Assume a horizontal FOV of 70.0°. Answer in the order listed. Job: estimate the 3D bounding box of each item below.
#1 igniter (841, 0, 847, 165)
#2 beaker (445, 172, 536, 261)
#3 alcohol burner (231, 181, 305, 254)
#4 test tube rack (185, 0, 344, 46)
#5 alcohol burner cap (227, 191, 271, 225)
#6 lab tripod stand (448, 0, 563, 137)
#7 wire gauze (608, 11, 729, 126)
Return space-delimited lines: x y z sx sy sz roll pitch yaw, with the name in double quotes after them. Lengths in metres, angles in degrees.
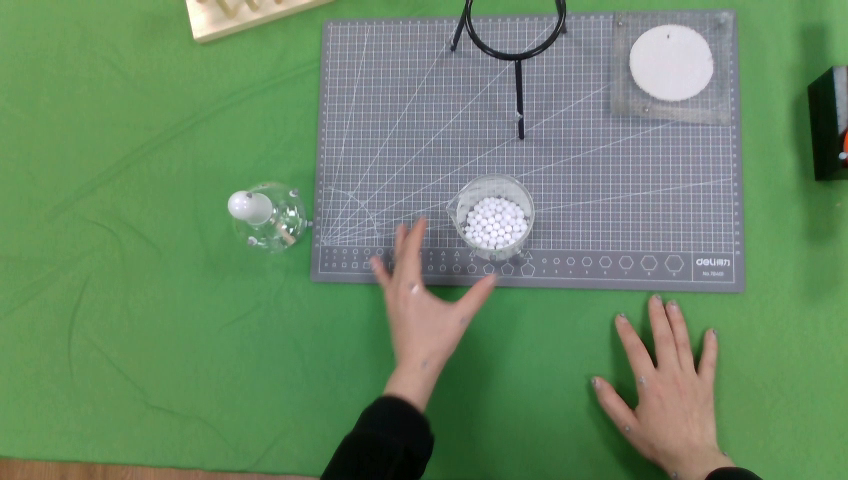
0.415 -0.115 0.560 0.057 0.025 0.275 0 80 10 "igniter"
0.066 -0.019 0.598 0.084 0.100 0.074 7 83 8 "beaker"
-0.167 -0.027 0.623 0.078 0.119 0.077 -1 80 6 "alcohol burner"
-0.164 -0.298 0.670 0.242 0.085 0.066 -16 81 4 "test tube rack"
-0.172 -0.032 0.587 0.034 0.048 0.034 0 86 7 "alcohol burner cap"
0.087 -0.191 0.600 0.148 0.132 0.148 -1 83 5 "lab tripod stand"
0.259 -0.184 0.642 0.125 0.011 0.121 5 83 5 "wire gauze"
